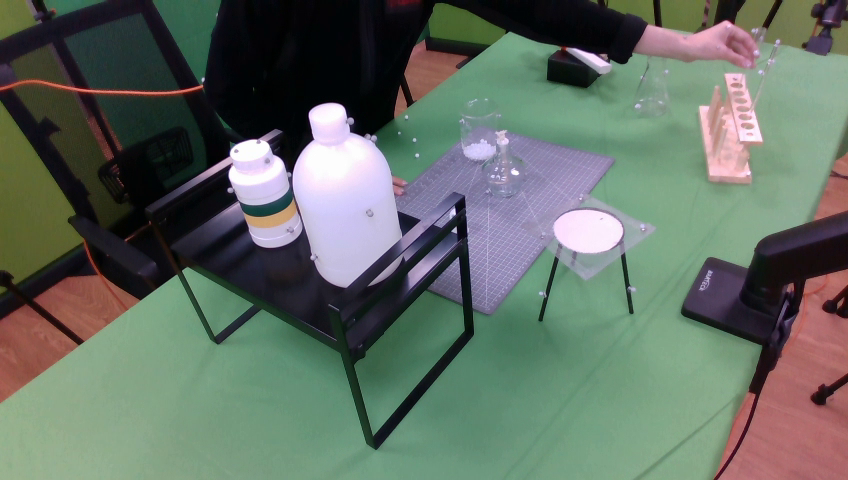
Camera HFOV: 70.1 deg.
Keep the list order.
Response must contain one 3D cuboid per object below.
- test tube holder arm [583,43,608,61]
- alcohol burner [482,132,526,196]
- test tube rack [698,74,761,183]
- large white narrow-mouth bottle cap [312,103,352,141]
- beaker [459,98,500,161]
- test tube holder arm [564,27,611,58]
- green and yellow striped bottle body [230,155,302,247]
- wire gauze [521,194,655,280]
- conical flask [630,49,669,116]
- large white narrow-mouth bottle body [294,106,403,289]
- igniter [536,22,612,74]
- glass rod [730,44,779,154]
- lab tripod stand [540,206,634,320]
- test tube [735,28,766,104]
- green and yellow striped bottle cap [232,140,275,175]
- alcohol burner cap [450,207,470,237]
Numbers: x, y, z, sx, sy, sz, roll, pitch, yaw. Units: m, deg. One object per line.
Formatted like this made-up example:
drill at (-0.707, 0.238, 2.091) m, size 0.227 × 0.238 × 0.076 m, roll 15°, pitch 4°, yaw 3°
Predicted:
test tube holder arm at (0.379, -0.420, 1.341) m, size 0.010 × 0.015 × 0.087 m, roll -40°, pitch 41°, yaw 11°
alcohol burner at (0.138, -0.136, 1.042) m, size 0.078 × 0.119 × 0.077 m, roll -4°, pitch 43°, yaw 4°
test tube rack at (0.547, -0.208, 1.095) m, size 0.066 × 0.085 × 0.242 m, roll 5°, pitch 42°, yaw 15°
large white narrow-mouth bottle cap at (-0.088, -0.113, 0.580) m, size 0.038 × 0.024 × 0.037 m, roll -3°, pitch 39°, yaw 3°
beaker at (0.104, -0.208, 1.142) m, size 0.074 × 0.101 × 0.083 m, roll -20°, pitch 42°, yaw -15°
test tube holder arm at (0.369, -0.450, 1.373) m, size 0.013 × 0.015 × 0.177 m, roll -40°, pitch 41°, yaw 10°
green and yellow striped bottle body at (-0.188, -0.055, 0.714) m, size 0.063 × 0.120 × 0.063 m, roll -4°, pitch 41°, yaw 4°
wire gauze at (0.207, -0.012, 0.772) m, size 0.122 × 0.011 × 0.124 m, roll -28°, pitch 44°, yaw -20°
conical flask at (0.457, -0.316, 1.205) m, size 0.075 × 0.122 × 0.075 m, roll -4°, pitch 41°, yaw 4°
large white narrow-mouth bottle body at (-0.082, -0.047, 0.634) m, size 0.102 × 0.195 × 0.101 m, roll -4°, pitch 40°, yaw 3°
igniter at (0.330, -0.439, 1.366) m, size 0.057 × 0.025 × 0.274 m, roll -11°, pitch 41°, yaw -20°
glass rod at (0.555, -0.233, 1.020) m, size 0.008 × 0.200 × 0.008 m, roll 2°, pitch 39°, yaw -1°
lab tripod stand at (0.218, 0.034, 0.821) m, size 0.148 × 0.132 × 0.147 m, roll -4°, pitch 42°, yaw 4°
test tube at (0.570, -0.298, 1.063) m, size 0.017 × 0.151 × 0.017 m, roll -2°, pitch 42°, yaw 2°
green and yellow striped bottle cap at (-0.192, -0.093, 0.680) m, size 0.045 × 0.020 × 0.045 m, roll -5°, pitch 39°, yaw 5°
alcohol burner cap at (0.057, -0.032, 0.987) m, size 0.034 × 0.048 × 0.033 m, roll -4°, pitch 41°, yaw 4°
